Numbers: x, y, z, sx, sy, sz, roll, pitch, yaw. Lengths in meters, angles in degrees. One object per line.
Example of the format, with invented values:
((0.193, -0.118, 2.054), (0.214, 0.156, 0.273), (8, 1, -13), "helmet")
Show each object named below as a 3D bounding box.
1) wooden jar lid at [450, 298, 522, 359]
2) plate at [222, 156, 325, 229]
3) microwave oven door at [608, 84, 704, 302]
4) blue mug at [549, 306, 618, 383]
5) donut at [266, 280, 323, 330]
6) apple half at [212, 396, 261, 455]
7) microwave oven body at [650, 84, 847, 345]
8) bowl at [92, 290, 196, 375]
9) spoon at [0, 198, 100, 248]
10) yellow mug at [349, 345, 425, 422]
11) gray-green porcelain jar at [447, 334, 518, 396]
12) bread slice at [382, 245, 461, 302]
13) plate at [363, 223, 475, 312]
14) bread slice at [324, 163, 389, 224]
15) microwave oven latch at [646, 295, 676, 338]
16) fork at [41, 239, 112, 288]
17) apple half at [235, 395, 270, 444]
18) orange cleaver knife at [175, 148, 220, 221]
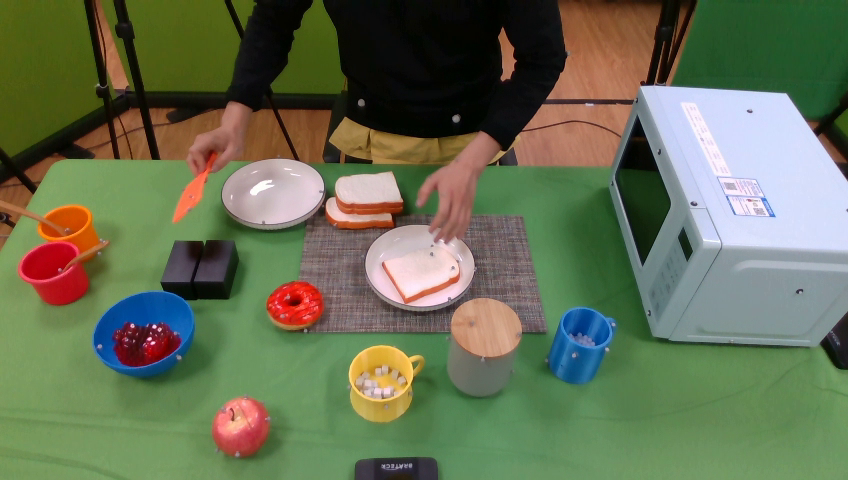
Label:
((0.093, 0.135, 0.914), (0.108, 0.021, 0.107), (3, 48, -3), "wooden jar lid")
((-0.308, -0.095, 1.251), (0.209, 0.038, 0.208), (3, 47, -3), "plate")
((0.424, -0.096, 1.138), (0.039, 0.245, 0.353), (2, 47, -1), "microwave oven door")
((0.269, 0.167, 0.997), (0.116, 0.106, 0.082), (-19, 50, -21), "blue mug")
((-0.223, 0.113, 1.051), (0.099, 0.048, 0.098), (2, 46, -2), "donut")
((-0.276, 0.276, 0.877), (0.053, 0.075, 0.080), (-29, 58, -21), "apple half")
((0.569, -0.054, 1.116), (0.326, 0.261, 0.439), (2, 46, -1), "microwave oven body")
((-0.436, 0.161, 0.971), (0.151, 0.077, 0.150), (2, 46, -2), "bowl")
((-0.684, -0.035, 1.092), (0.021, 0.195, 0.041), (-34, 41, 26), "spoon")
((-0.054, 0.217, 0.954), (0.131, 0.064, 0.099), (-23, 52, -25), "yellow mug")
((0.091, 0.178, 0.960), (0.106, 0.127, 0.105), (2, 47, -2), "gray-green porcelain jar")
((0.000, 0.054, 1.130), (0.132, 0.019, 0.104), (-20, 51, -19), "bread slice")
((-0.009, 0.054, 1.126), (0.208, 0.039, 0.206), (2, 46, -2), "plate")
((-0.140, -0.091, 1.215), (0.134, 0.018, 0.106), (-24, 50, 11), "bread slice")
((0.413, 0.133, 1.061), (0.030, 0.029, 0.078), (4, 46, 1), "microwave oven latch")
((-0.591, 0.040, 1.028), (0.207, 0.019, 0.028), (-27, 37, 29), "fork")
((-0.245, 0.259, 0.893), (0.033, 0.082, 0.081), (-29, 55, -22), "apple half")
((-0.422, -0.107, 1.132), (0.077, 0.012, 0.210), (-35, 32, 18), "orange cleaver knife")
